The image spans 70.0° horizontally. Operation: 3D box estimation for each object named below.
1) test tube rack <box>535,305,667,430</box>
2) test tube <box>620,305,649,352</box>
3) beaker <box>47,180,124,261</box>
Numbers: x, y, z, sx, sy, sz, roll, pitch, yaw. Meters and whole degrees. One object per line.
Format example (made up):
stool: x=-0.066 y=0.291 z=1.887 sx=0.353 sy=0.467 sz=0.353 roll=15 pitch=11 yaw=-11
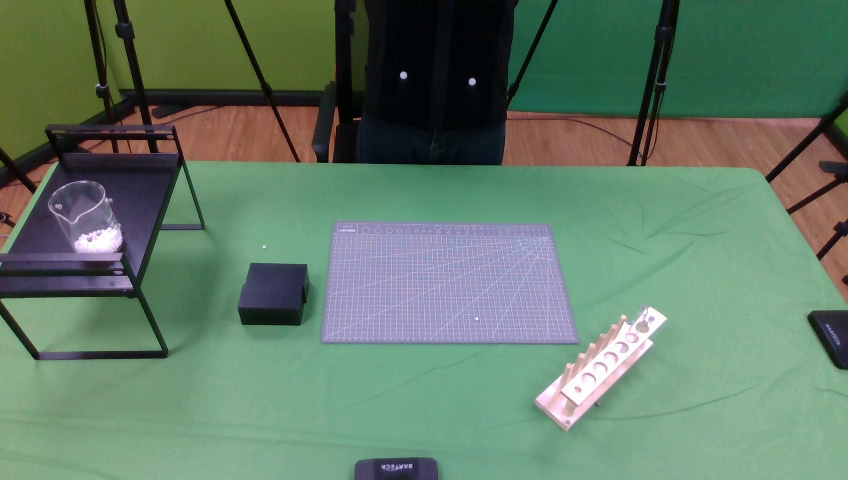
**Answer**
test tube rack: x=0.290 y=0.193 z=0.984 sx=0.242 sy=0.085 sz=0.066 roll=-32 pitch=57 yaw=-30
test tube: x=0.330 y=0.150 z=0.960 sx=0.017 sy=0.151 sz=0.017 roll=-1 pitch=50 yaw=1
beaker: x=-0.486 y=-0.024 z=0.879 sx=0.074 sy=0.101 sz=0.083 roll=-7 pitch=48 yaw=-9
